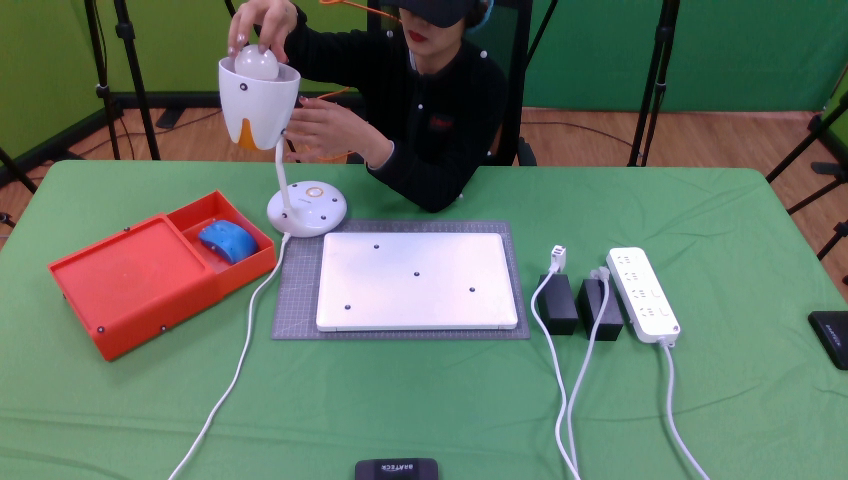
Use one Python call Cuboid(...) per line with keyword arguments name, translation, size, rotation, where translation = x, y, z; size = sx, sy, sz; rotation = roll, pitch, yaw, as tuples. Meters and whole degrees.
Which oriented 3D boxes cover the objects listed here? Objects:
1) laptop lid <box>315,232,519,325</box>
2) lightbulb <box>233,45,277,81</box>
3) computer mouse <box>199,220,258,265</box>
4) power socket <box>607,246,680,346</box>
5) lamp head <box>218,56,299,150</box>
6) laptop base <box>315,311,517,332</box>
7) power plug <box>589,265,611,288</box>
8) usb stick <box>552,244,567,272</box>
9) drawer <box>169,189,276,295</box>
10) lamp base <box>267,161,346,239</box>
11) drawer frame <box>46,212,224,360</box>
Cuboid(name="laptop lid", translation=(-0.015, 0.065, 1.118), size=(0.357, 0.013, 0.240), rotation=(1, 43, -3))
Cuboid(name="lightbulb", translation=(-0.242, -0.224, 0.869), size=(0.059, 0.108, 0.059), rotation=(6, 23, -2))
Cuboid(name="computer mouse", translation=(-0.374, -0.001, 1.153), size=(0.116, 0.041, 0.063), rotation=(30, 52, 28))
Cuboid(name="power socket", translation=(0.403, 0.096, 1.123), size=(0.072, 0.033, 0.225), rotation=(-3, 46, -5))
Cuboid(name="lamp head", translation=(-0.245, -0.197, 0.886), size=(0.112, 0.123, 0.112), rotation=(10, 34, -7))
Cuboid(name="laptop base", translation=(-0.016, 0.075, 1.125), size=(0.355, 0.023, 0.234), rotation=(0, 42, -4))
Cuboid(name="power plug", translation=(0.318, 0.073, 1.108), size=(0.035, 0.053, 0.072), rotation=(26, 34, 13))
Cuboid(name="usb stick", translation=(0.251, 0.039, 1.123), size=(0.021, 0.059, 0.027), rotation=(14, 47, 24))
Cuboid(name="drawer", translation=(-0.413, 0.022, 1.108), size=(0.212, 0.073, 0.193), rotation=(-33, 57, -30))
Cuboid(name="lamp base", translation=(-0.241, -0.110, 1.173), size=(0.160, 0.181, 0.178), rotation=(11, 50, 9))
Cuboid(name="drawer frame", translation=(-0.495, 0.071, 1.050), size=(0.213, 0.083, 0.200), rotation=(-32, 56, -30))
